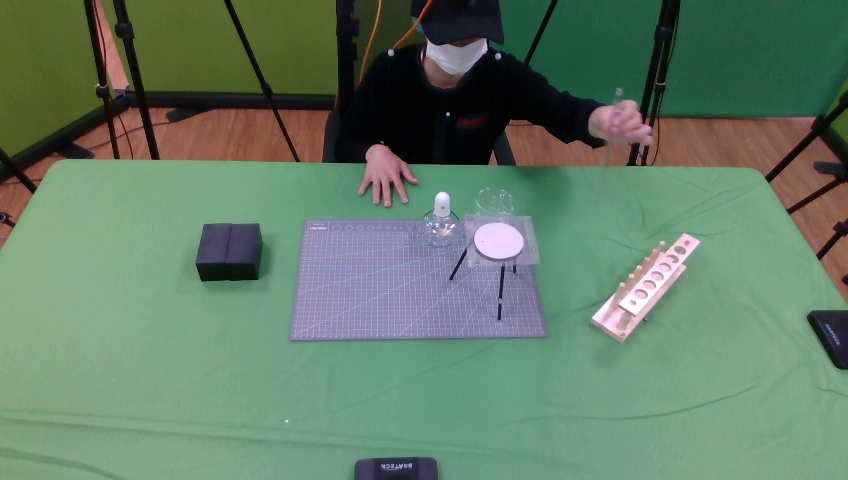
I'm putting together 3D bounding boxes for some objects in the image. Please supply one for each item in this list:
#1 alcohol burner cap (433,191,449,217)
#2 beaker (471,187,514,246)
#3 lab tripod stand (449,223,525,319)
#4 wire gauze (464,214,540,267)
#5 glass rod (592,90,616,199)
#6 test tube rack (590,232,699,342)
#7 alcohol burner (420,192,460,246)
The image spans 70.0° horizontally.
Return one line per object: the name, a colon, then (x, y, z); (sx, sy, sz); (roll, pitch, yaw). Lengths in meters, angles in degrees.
alcohol burner cap: (0.033, -0.070, 1.150); (0.034, 0.048, 0.033); (0, 45, 0)
beaker: (0.134, -0.042, 1.190); (0.083, 0.101, 0.074); (34, 53, 25)
lab tripod stand: (0.120, 0.046, 1.080); (0.148, 0.132, 0.147); (1, 47, -1)
wire gauze: (0.131, -0.002, 1.034); (0.121, 0.011, 0.124); (1, 45, -2)
glass rod: (0.300, -0.154, 1.011); (0.008, 0.200, 0.008); (0, 35, 0)
test tube rack: (0.407, 0.074, 1.112); (0.066, 0.085, 0.242); (35, 53, 26)
alcohol burner: (0.032, -0.046, 1.176); (0.078, 0.120, 0.077); (1, 44, -1)
